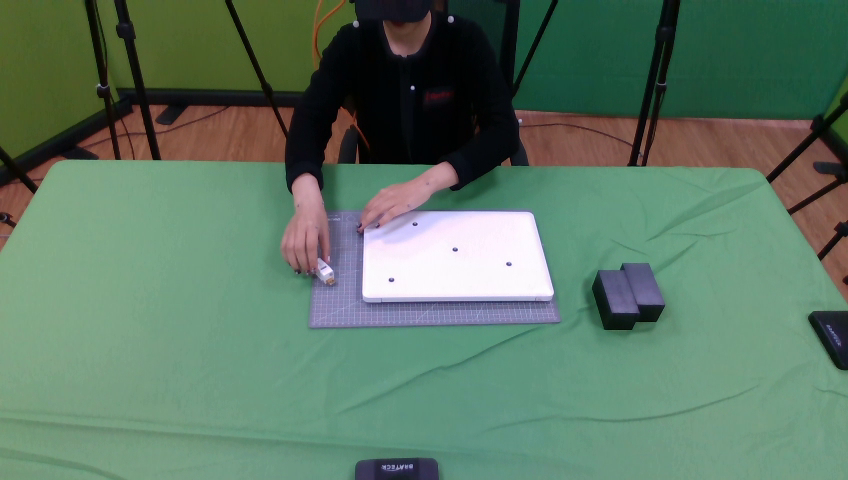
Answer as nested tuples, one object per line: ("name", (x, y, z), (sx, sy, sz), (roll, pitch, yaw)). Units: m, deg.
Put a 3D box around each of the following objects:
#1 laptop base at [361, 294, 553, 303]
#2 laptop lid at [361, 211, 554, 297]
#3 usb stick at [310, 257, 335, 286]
("laptop base", (0.058, 0.030, 1.175), (0.355, 0.023, 0.234), (0, 43, -4))
("laptop lid", (0.058, 0.020, 1.169), (0.357, 0.013, 0.240), (1, 44, -3))
("usb stick", (-0.186, 0.060, 1.119), (0.021, 0.027, 0.059), (-30, 59, -29))
